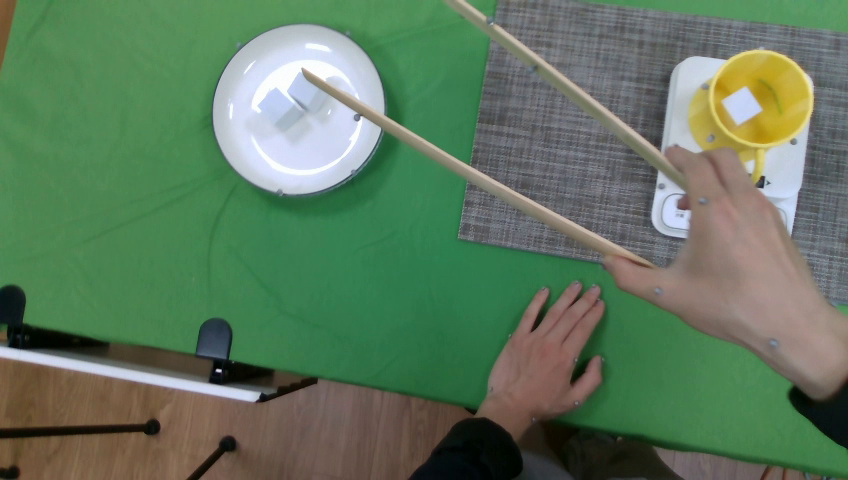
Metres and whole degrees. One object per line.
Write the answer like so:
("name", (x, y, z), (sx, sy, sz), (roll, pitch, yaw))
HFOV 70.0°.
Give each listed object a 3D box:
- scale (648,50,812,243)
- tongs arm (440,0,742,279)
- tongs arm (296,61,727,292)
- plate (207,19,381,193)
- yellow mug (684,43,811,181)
("scale", (0.336, -0.104, 0.668), (0.148, 0.031, 0.200), (9, 87, 7))
("tongs arm", (0.091, -0.114, 0.478), (0.051, 0.027, 0.382), (-46, 70, -2))
("tongs arm", (0.044, -0.059, 0.476), (0.385, 0.028, 0.028), (32, 80, 20))
("plate", (-0.151, -0.155, 0.721), (0.207, 0.039, 0.207), (0, 85, 5))
("yellow mug", (0.330, -0.127, 0.623), (0.100, 0.064, 0.130), (-1, 86, 5))
